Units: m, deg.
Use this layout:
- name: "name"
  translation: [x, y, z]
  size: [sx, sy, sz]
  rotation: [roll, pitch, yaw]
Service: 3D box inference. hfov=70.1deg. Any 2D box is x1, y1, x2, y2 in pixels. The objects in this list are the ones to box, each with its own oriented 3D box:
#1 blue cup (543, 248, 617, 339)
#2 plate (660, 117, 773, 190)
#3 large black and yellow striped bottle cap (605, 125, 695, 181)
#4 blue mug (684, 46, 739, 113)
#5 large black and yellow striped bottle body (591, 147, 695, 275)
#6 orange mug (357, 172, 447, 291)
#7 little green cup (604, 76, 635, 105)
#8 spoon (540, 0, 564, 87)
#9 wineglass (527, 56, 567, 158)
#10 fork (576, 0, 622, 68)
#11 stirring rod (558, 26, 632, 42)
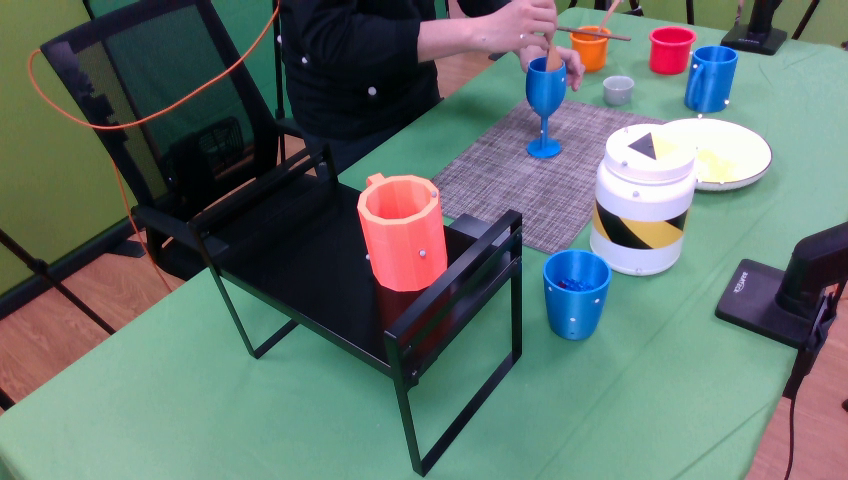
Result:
- name: "blue cup"
  translation: [0.199, 0.076, 0.797]
  size: [0.092, 0.100, 0.092]
  rotation: [-4, 39, 4]
- name: "plate"
  translation: [0.495, -0.149, 1.063]
  size: [0.209, 0.038, 0.208]
  rotation: [-5, 40, 5]
- name: "large black and yellow striped bottle cap"
  translation: [0.304, -0.120, 0.817]
  size: [0.115, 0.019, 0.114]
  rotation: [-3, 41, 3]
- name: "blue mug"
  translation: [0.556, -0.310, 1.190]
  size: [0.117, 0.106, 0.081]
  rotation: [-32, 46, -25]
- name: "large black and yellow striped bottle body"
  translation: [0.313, -0.056, 0.870]
  size: [0.131, 0.185, 0.130]
  rotation: [-4, 40, 4]
- name: "orange mug"
  translation: [-0.030, -0.018, 0.669]
  size: [0.084, 0.101, 0.125]
  rotation: [-23, 46, -16]
- name: "little green cup"
  translation: [0.408, -0.311, 1.266]
  size: [0.061, 0.039, 0.061]
  rotation: [-4, 40, 4]
- name: "spoon"
  translation: [0.207, -0.349, 1.007]
  size: [0.042, 0.194, 0.021]
  rotation: [-30, 32, -22]
- name: "wineglass"
  translation: [0.222, -0.240, 1.101]
  size: [0.074, 0.173, 0.073]
  rotation: [-4, 42, 4]
- name: "fork"
  translation: [0.409, -0.484, 1.381]
  size: [0.028, 0.019, 0.207]
  rotation: [37, 101, 46]
- name: "stirring rod"
  translation: [0.381, -0.462, 1.356]
  size: [0.175, 0.006, 0.014]
  rotation: [22, 48, 30]
